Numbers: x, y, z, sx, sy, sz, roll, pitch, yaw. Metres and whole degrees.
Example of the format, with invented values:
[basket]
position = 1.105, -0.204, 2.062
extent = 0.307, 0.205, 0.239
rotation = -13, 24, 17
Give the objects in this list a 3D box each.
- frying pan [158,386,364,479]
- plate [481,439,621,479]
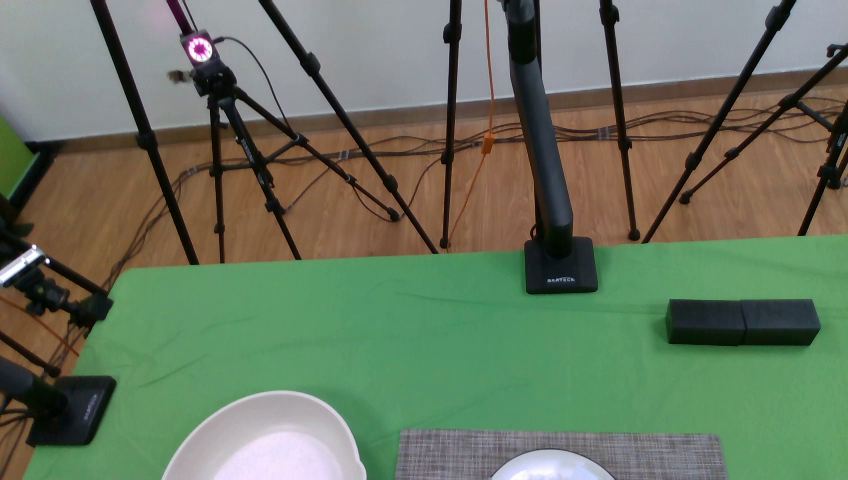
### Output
[frying pan]
position = -0.226, 0.421, 0.775
extent = 0.306, 0.104, 0.483
rotation = -8, 42, 6
[plate]
position = 0.165, 0.365, 0.781
extent = 0.207, 0.039, 0.205
rotation = -6, 50, 7
